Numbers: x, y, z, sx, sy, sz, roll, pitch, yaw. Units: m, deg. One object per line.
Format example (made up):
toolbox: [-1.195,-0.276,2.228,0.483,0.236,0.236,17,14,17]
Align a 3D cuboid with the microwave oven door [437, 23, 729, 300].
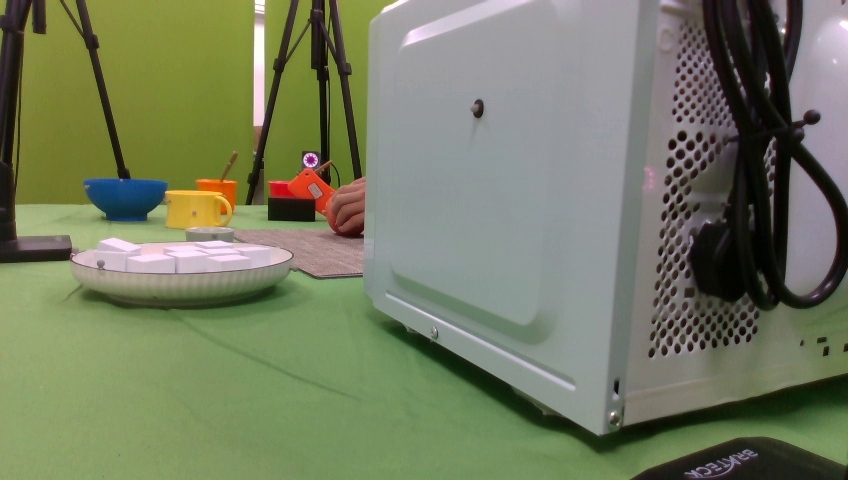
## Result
microwave oven door: [0.181,-0.072,0.621,0.358,0.243,0.039,-2,9,-29]

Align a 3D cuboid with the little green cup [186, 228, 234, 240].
little green cup: [-0.284,0.005,0.805,0.061,0.038,0.061,2,8,0]

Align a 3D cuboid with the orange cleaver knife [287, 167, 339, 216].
orange cleaver knife: [-0.209,-0.089,1.383,0.212,0.077,0.012,31,4,-15]

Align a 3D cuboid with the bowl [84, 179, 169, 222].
bowl: [-0.584,-0.078,1.194,0.151,0.077,0.151,3,8,0]

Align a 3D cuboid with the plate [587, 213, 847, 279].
plate: [0.244,0.002,0.512,0.209,0.038,0.209,1,7,0]

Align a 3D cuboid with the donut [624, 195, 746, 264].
donut: [0.221,-0.007,0.518,0.099,0.048,0.099,19,0,0]

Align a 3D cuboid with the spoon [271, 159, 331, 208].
spoon: [-0.308,-0.141,1.513,0.193,0.021,0.041,-42,0,8]

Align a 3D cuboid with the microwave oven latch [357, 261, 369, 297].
microwave oven latch: [-0.019,0.034,0.530,0.079,0.029,0.030,-1,7,-27]

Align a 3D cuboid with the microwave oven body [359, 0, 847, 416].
microwave oven body: [0.211,-0.047,0.474,0.444,0.260,0.324,-1,7,-28]

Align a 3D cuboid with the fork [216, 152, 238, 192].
fork: [-0.455,-0.132,1.366,0.028,0.018,0.207,-2,-35,-37]

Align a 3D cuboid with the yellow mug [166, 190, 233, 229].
yellow mug: [-0.415,-0.057,1.132,0.130,0.064,0.100,6,8,16]

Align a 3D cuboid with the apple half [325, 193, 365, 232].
apple half: [-0.152,-0.053,1.121,0.082,0.081,0.032,-2,12,-26]

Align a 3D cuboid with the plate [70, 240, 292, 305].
plate: [-0.242,0.031,0.618,0.208,0.039,0.207,2,8,0]

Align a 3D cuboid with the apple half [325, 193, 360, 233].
apple half: [-0.133,-0.047,1.088,0.081,0.074,0.053,2,12,-27]
